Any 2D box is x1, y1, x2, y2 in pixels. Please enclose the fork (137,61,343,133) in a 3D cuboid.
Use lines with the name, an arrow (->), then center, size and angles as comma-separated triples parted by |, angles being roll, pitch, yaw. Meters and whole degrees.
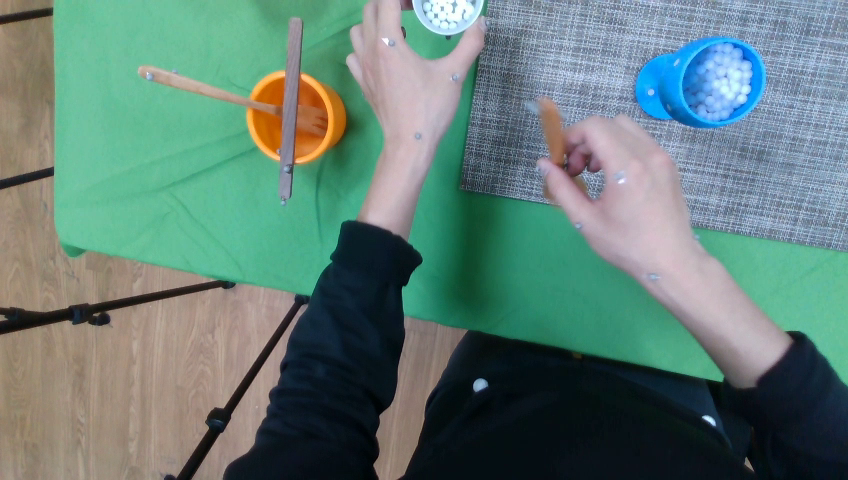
fork -> -0.175, -0.142, 0.605 | 0.209, 0.018, 0.028 | 9, 118, -39

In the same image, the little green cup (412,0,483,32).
little green cup -> 0.022, -0.211, 0.526 | 0.061, 0.038, 0.062 | 2, 103, 8

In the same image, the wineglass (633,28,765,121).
wineglass -> 0.232, -0.143, 0.530 | 0.073, 0.172, 0.074 | 2, 104, 8

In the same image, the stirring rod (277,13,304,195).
stirring rod -> -0.133, -0.131, 0.600 | 0.014, 0.006, 0.177 | 9, 105, 6

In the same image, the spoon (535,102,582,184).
spoon -> 0.107, -0.070, 0.475 | 0.041, 0.194, 0.021 | 3, 87, 11
